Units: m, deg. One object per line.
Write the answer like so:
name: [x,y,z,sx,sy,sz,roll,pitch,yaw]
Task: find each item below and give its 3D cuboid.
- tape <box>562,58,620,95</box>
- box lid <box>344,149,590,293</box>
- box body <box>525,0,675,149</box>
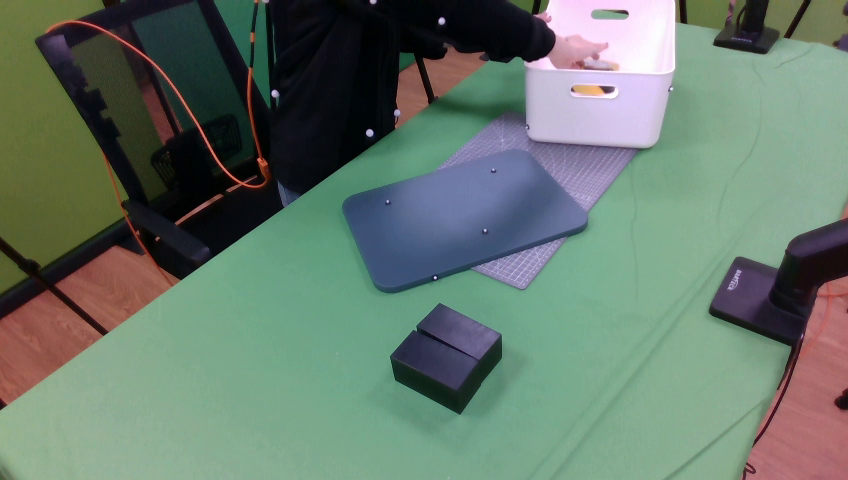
tape: [0.337,-0.334,1.229,0.117,0.053,0.116,2,27,-1]
box lid: [0.062,-0.046,1.027,0.373,0.015,0.261,-18,41,-11]
box body: [0.356,-0.342,1.212,0.253,0.161,0.363,7,42,17]
